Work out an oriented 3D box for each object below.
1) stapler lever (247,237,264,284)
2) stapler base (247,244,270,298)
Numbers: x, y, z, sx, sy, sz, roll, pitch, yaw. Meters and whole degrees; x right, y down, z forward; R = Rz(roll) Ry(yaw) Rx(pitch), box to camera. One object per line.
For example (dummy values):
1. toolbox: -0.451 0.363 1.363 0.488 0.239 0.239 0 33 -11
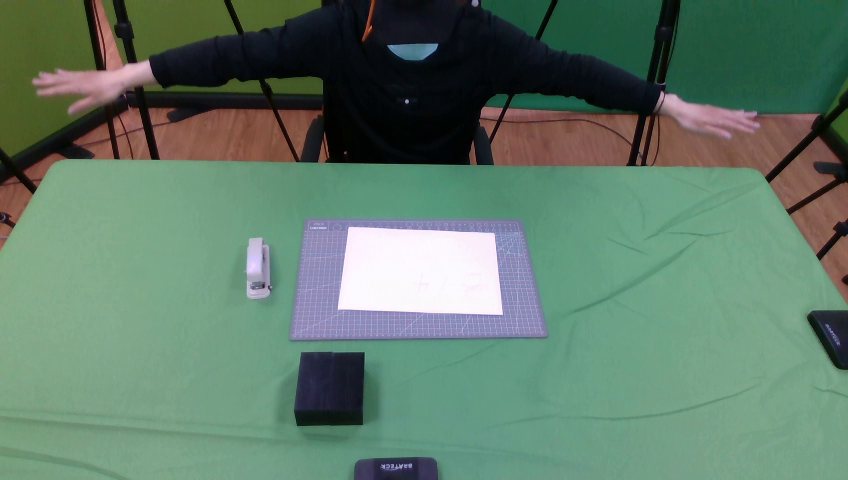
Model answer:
1. stapler lever: -0.307 0.031 1.106 0.027 0.040 0.117 -4 45 -12
2. stapler base: -0.308 0.050 1.123 0.041 0.024 0.129 -4 45 -12
